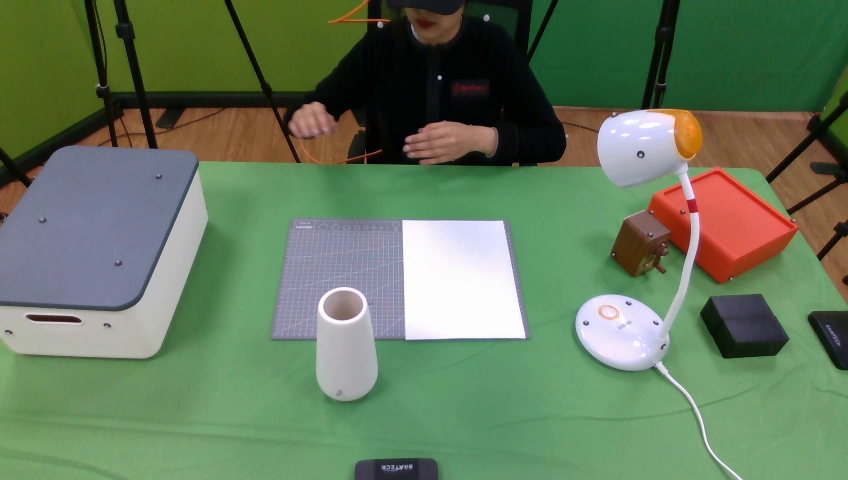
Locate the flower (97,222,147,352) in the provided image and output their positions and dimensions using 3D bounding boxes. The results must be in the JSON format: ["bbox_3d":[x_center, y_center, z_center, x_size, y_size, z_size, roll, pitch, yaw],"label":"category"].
[{"bbox_3d":[-0.557,0.069,1.089,0.044,0.038,0.359,-24,47,-19],"label":"flower"}]

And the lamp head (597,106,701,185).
[{"bbox_3d":[0.328,-0.138,0.865,0.112,0.113,0.122,-36,20,-32],"label":"lamp head"}]

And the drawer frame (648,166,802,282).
[{"bbox_3d":[0.603,-0.040,1.233,0.202,0.083,0.212,-21,51,-23],"label":"drawer frame"}]

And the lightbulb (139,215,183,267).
[{"bbox_3d":[-0.496,0.003,1.131,0.059,0.060,0.107,18,64,13],"label":"lightbulb"}]

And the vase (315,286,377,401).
[{"bbox_3d":[-0.119,0.159,0.911,0.098,0.201,0.097,2,47,-2],"label":"vase"}]

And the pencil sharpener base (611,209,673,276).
[{"bbox_3d":[0.416,0.007,1.158,0.061,0.107,0.076,-21,51,-22],"label":"pencil sharpener base"}]

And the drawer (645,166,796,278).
[{"bbox_3d":[0.600,-0.041,1.236,0.195,0.073,0.210,-21,51,-23],"label":"drawer"}]

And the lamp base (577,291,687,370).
[{"bbox_3d":[0.361,0.110,1.003,0.160,0.181,0.178,-30,57,-28],"label":"lamp base"}]

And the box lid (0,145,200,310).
[{"bbox_3d":[-0.541,-0.037,0.993,0.263,0.015,0.369,3,45,-2],"label":"box lid"}]

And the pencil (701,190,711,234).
[{"bbox_3d":[0.584,-0.059,1.256,0.012,0.012,0.193,16,34,11],"label":"pencil"}]

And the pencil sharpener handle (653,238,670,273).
[{"bbox_3d":[0.444,0.030,1.120,0.036,0.068,0.030,-25,52,-18],"label":"pencil sharpener handle"}]

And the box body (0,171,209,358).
[{"bbox_3d":[-0.545,0.017,1.045,0.254,0.161,0.361,2,46,-2],"label":"box body"}]
